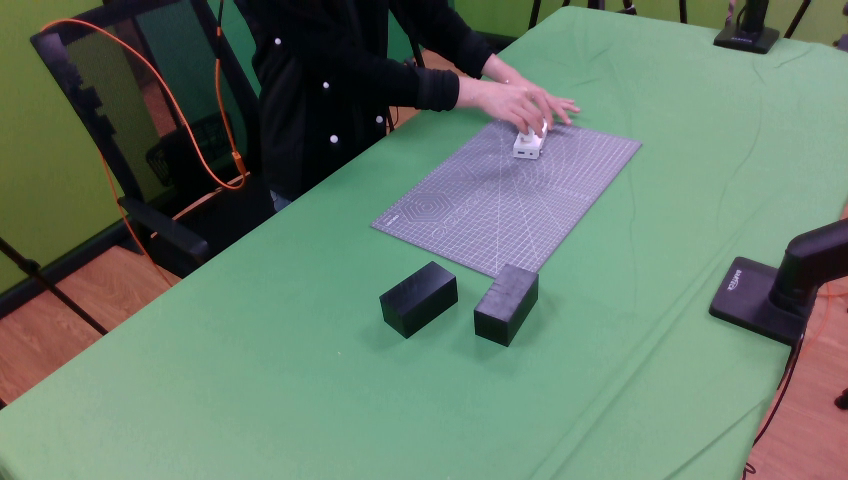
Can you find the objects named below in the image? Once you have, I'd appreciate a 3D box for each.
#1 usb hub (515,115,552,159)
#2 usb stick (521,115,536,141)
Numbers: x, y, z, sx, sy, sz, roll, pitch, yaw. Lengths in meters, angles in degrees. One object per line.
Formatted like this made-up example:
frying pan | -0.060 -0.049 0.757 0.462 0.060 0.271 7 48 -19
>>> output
usb hub | 0.213 -0.201 1.174 0.049 0.025 0.125 10 43 17
usb stick | 0.196 -0.203 1.134 0.027 0.059 0.021 8 42 16
